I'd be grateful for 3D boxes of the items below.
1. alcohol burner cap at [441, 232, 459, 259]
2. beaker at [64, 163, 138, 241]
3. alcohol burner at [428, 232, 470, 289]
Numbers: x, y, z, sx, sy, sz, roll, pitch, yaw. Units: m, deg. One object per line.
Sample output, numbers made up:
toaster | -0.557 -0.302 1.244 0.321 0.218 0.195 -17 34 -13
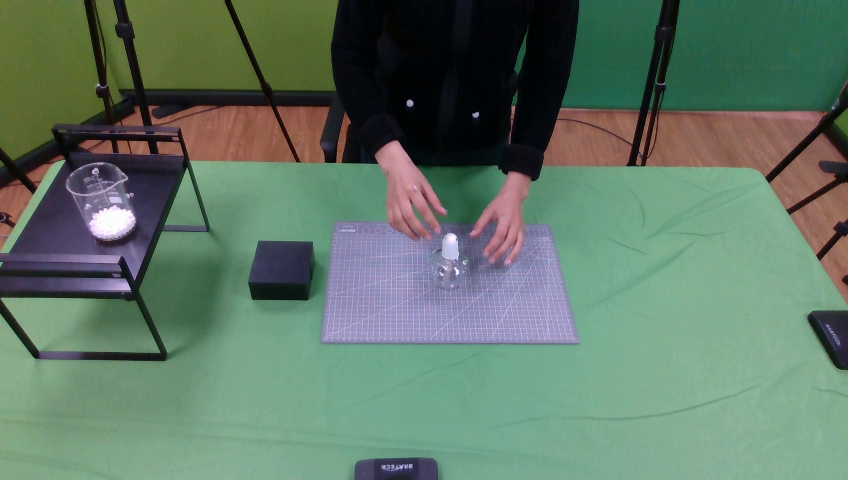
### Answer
alcohol burner cap | 0.047 0.006 1.076 0.034 0.048 0.033 0 42 1
beaker | -0.477 -0.055 0.910 0.084 0.101 0.073 -9 48 -13
alcohol burner | 0.045 0.032 1.099 0.078 0.120 0.077 1 45 -1
